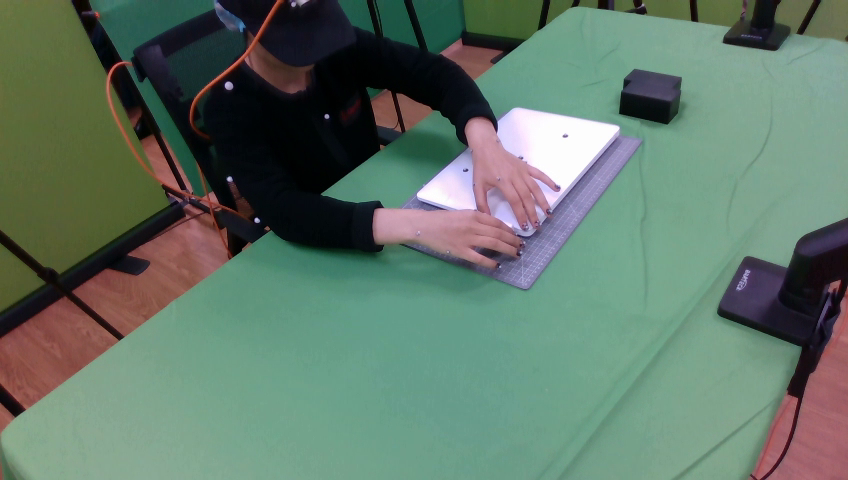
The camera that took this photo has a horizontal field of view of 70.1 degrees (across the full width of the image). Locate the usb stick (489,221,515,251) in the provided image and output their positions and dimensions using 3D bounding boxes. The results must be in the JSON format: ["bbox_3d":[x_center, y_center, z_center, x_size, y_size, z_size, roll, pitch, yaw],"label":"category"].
[{"bbox_3d":[0.127,-0.011,0.954,0.021,0.027,0.059,21,45,34],"label":"usb stick"}]

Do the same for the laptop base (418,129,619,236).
[{"bbox_3d":[0.180,-0.137,1.112,0.233,0.023,0.355,19,47,33],"label":"laptop base"}]

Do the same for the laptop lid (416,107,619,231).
[{"bbox_3d":[0.176,-0.147,1.106,0.239,0.013,0.357,21,48,34],"label":"laptop lid"}]
